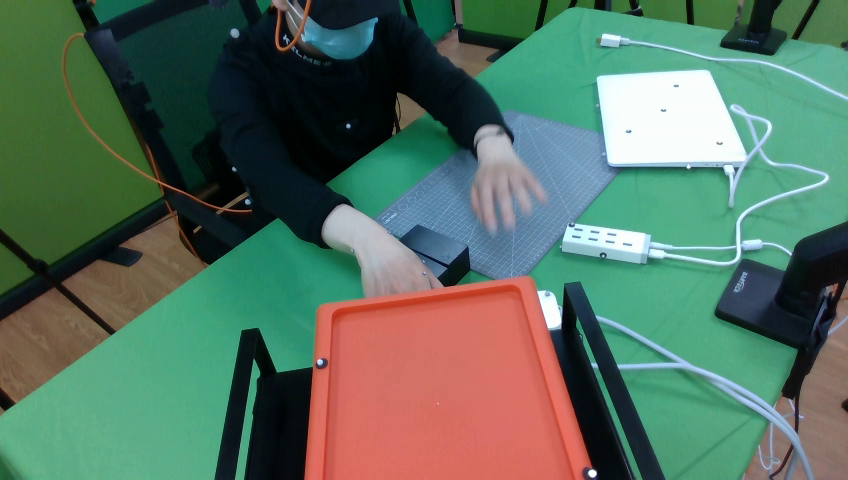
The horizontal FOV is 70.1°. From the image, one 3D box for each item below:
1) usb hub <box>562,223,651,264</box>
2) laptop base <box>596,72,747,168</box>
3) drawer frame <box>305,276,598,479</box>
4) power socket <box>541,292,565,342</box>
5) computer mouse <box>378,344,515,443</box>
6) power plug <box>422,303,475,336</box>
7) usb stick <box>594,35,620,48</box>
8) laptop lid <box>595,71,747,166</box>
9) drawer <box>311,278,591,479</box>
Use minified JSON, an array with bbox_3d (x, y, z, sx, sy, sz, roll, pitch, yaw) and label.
[{"bbox_3d":[0.279,0.004,0.925,0.124,0.025,0.049,10,42,19],"label":"usb hub"},{"bbox_3d":[0.469,-0.238,1.189,0.235,0.023,0.353,-1,40,11],"label":"laptop base"},{"bbox_3d":[0.014,0.137,0.486,0.202,0.083,0.212,-8,41,-1],"label":"drawer frame"},{"bbox_3d":[0.079,0.112,0.822,0.227,0.033,0.072,-5,41,2],"label":"power socket"},{"bbox_3d":[0.018,0.126,0.520,0.116,0.041,0.063,13,47,29],"label":"computer mouse"},{"bbox_3d":[0.027,0.112,0.783,0.035,0.053,0.072,-30,69,-26],"label":"power plug"},{"bbox_3d":[0.443,-0.482,1.467,0.059,0.021,0.027,9,43,10],"label":"usb stick"},{"bbox_3d":[0.465,-0.248,1.181,0.241,0.013,0.355,1,41,12],"label":"laptop lid"},{"bbox_3d":[0.013,0.137,0.489,0.195,0.073,0.210,-7,41,0],"label":"drawer"}]
